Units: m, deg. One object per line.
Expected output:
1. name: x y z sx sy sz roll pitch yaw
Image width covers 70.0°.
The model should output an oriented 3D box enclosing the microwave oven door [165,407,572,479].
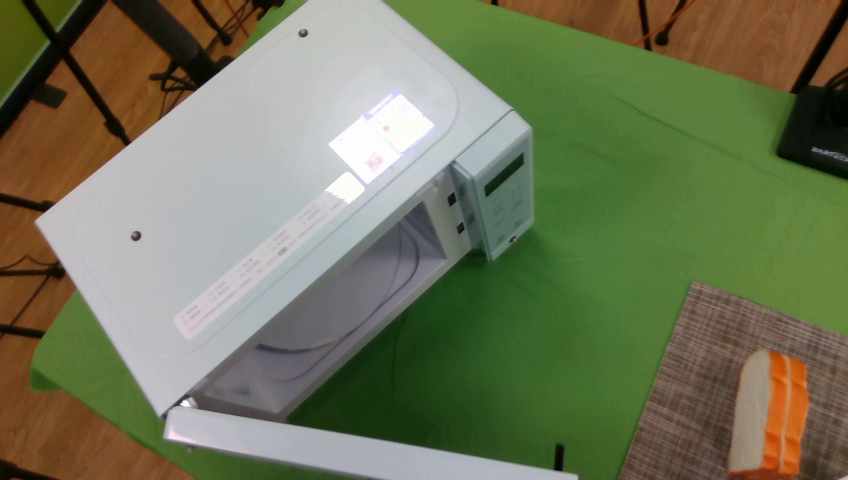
1. microwave oven door: -0.036 0.215 0.603 0.355 0.246 0.039 5 70 12

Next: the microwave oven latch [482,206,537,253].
1. microwave oven latch: 0.109 -0.020 0.776 0.079 0.030 0.030 -40 68 -5

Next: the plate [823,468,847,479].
1. plate: 0.466 0.329 0.593 0.207 0.039 0.206 -3 69 9

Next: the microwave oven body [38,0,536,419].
1. microwave oven body: -0.135 -0.036 0.722 0.441 0.262 0.323 -42 68 -6
